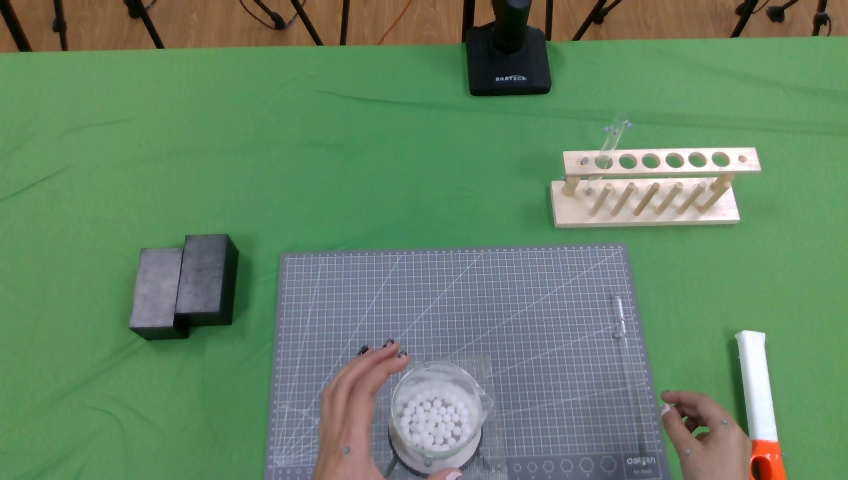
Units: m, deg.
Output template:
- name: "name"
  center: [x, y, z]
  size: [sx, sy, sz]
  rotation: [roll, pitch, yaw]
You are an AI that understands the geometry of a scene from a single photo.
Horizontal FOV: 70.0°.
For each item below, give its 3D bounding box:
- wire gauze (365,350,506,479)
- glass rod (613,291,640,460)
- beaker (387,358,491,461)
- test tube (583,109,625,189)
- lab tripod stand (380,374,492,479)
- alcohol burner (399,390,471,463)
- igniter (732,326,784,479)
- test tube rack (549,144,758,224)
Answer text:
- name: "wire gauze"
  center: [0.008, 0.167, 0.571]
  size: [0.125, 0.011, 0.120]
  rotation: [-5, 64, -1]
- name: "glass rod"
  center: [0.241, 0.156, 0.720]
  size: [0.008, 0.008, 0.198]
  rotation: [0, 69, -1]
- name: "beaker"
  center: [0.012, 0.150, 0.525]
  size: [0.084, 0.101, 0.073]
  rotation: [-6, 65, -3]
- name: "test tube"
  center: [0.219, -0.108, 0.745]
  size: [0.017, 0.151, 0.017]
  rotation: [0, 62, 1]
- name: "lab tripod stand"
  center: [0.008, 0.198, 0.629]
  size: [0.148, 0.132, 0.147]
  rotation: [0, 65, 1]
- name: "alcohol burner"
  center: [0.013, 0.194, 0.642]
  size: [0.078, 0.120, 0.077]
  rotation: [1, 64, -2]
- name: "igniter"
  center: [0.380, 0.232, 0.682]
  size: [0.057, 0.025, 0.274]
  rotation: [9, 66, -8]
- name: "test tube rack"
  center: [0.293, -0.071, 0.784]
  size: [0.242, 0.086, 0.066]
  rotation: [-1, 66, -1]
